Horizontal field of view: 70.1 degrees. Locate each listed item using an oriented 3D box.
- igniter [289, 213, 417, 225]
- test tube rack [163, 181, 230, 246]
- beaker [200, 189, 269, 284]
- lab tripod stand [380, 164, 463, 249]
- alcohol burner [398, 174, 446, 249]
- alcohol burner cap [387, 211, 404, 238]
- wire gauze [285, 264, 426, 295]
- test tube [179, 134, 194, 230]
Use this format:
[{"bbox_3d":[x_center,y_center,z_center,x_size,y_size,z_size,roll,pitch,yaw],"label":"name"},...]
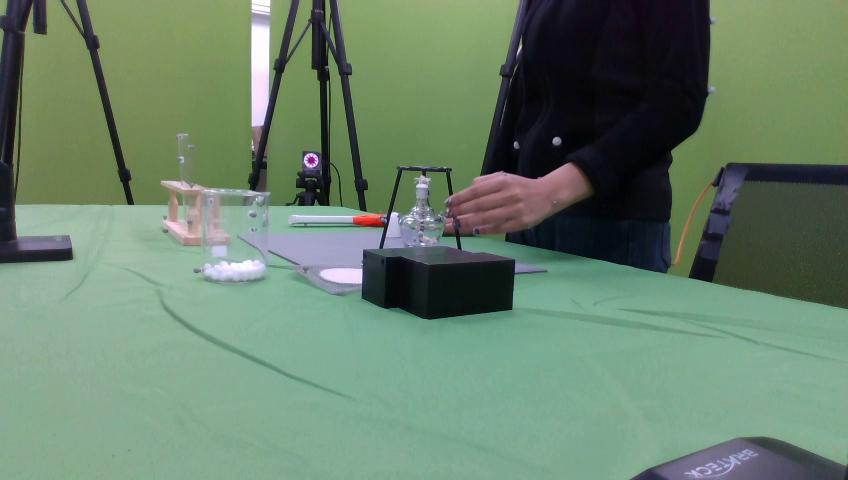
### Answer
[{"bbox_3d":[-0.144,-0.044,1.275,0.278,0.025,0.057,-1,-2,-27],"label":"igniter"},{"bbox_3d":[-0.387,-0.050,1.015,0.067,0.085,0.241,-2,9,-30],"label":"test tube rack"},{"bbox_3d":[-0.209,-0.006,0.676,0.073,0.100,0.084,7,8,28],"label":"beaker"},{"bbox_3d":[-0.003,-0.055,0.967,0.148,0.131,0.148,2,9,0],"label":"lab tripod stand"},{"bbox_3d":[-0.003,-0.046,0.973,0.078,0.119,0.078,0,7,0],"label":"alcohol burner"},{"bbox_3d":[-0.053,-0.029,1.107,0.034,0.048,0.034,2,9,0],"label":"alcohol burner cap"},{"bbox_3d":[-0.079,0.039,0.692,0.122,0.011,0.124,-4,11,-37],"label":"wire gauze"},{"bbox_3d":[-0.366,-0.089,0.938,0.017,0.150,0.017,-1,9,1],"label":"test tube"}]
